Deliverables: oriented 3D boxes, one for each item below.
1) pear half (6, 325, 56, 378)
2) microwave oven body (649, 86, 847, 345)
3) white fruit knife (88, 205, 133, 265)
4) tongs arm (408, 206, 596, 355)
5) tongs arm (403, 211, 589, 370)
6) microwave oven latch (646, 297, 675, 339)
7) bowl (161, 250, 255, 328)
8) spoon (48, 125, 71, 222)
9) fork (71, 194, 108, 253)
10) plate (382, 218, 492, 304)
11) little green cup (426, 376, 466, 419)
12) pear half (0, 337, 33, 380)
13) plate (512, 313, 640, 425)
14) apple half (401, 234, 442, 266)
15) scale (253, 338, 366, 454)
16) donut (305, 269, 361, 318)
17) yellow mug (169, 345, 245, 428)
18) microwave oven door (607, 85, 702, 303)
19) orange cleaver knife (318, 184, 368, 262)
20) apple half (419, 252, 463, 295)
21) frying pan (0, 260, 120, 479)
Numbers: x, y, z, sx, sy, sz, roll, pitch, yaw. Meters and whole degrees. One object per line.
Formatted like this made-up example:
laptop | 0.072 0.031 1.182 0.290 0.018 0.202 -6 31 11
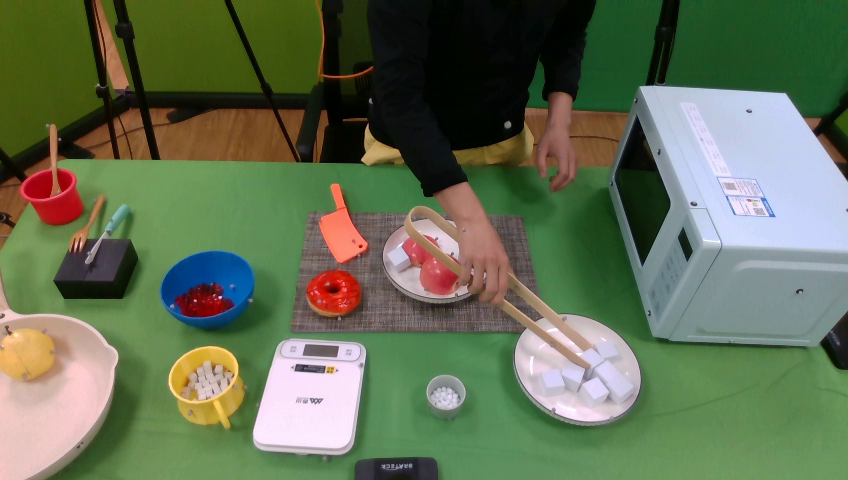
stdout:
pear half | -0.608 0.158 0.935 0.076 0.110 0.056 31 51 20
microwave oven body | 0.567 -0.053 1.118 0.326 0.261 0.439 2 45 -1
white fruit knife | -0.584 -0.013 1.129 0.016 0.027 0.206 0 31 -5
tongs arm | 0.126 0.071 1.008 0.384 0.026 0.050 42 54 4
tongs arm | 0.113 0.086 0.993 0.387 0.028 0.028 39 57 1
microwave oven latch | 0.412 0.134 1.061 0.030 0.029 0.078 4 45 1
bowl | -0.362 0.098 1.039 0.151 0.077 0.150 2 45 -2
spoon | -0.718 -0.131 1.188 0.041 0.021 0.193 -3 90 -7
fork | -0.634 -0.036 1.158 0.028 0.019 0.206 -8 31 -8
plate | 0.023 0.042 1.143 0.209 0.038 0.208 2 46 -2
little green cup | 0.033 0.248 0.950 0.061 0.039 0.061 2 46 -2
pear half | -0.631 0.184 0.921 0.070 0.088 0.031 29 49 19
plate | 0.246 0.213 0.999 0.208 0.039 0.206 2 46 -2
apple half | -0.004 0.014 1.159 0.081 0.033 0.081 5 44 -4
scale | -0.175 0.236 0.951 0.149 0.032 0.199 4 46 -1
donut | -0.160 0.095 1.075 0.099 0.048 0.098 4 45 -3
yellow mug | -0.322 0.230 0.922 0.100 0.064 0.130 -24 53 -25
microwave oven door | 0.423 -0.094 1.140 0.039 0.245 0.353 2 46 -1
orange cleaver knife | -0.173 -0.037 1.218 0.077 0.012 0.210 -16 50 -12
apple half | 0.034 0.056 1.109 0.074 0.053 0.081 38 55 25
frying pan | -0.647 0.164 0.936 0.307 0.103 0.485 -19 58 -22
